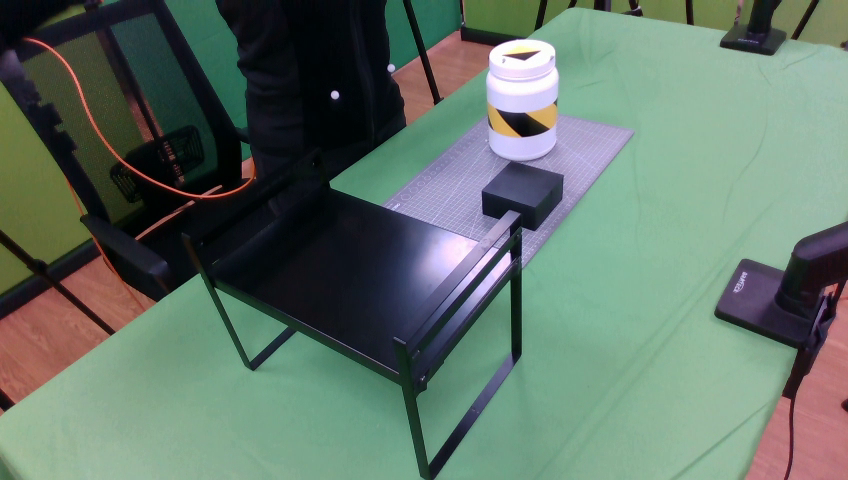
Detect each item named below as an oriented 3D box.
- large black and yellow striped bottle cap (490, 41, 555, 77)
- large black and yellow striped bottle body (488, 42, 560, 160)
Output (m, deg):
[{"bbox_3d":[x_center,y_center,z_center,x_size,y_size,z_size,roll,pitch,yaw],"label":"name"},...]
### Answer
[{"bbox_3d":[0.174,-0.320,1.065,0.115,0.019,0.114,-4,39,4],"label":"large black and yellow striped bottle cap"},{"bbox_3d":[0.184,-0.258,1.119,0.131,0.185,0.130,-4,41,4],"label":"large black and yellow striped bottle body"}]
